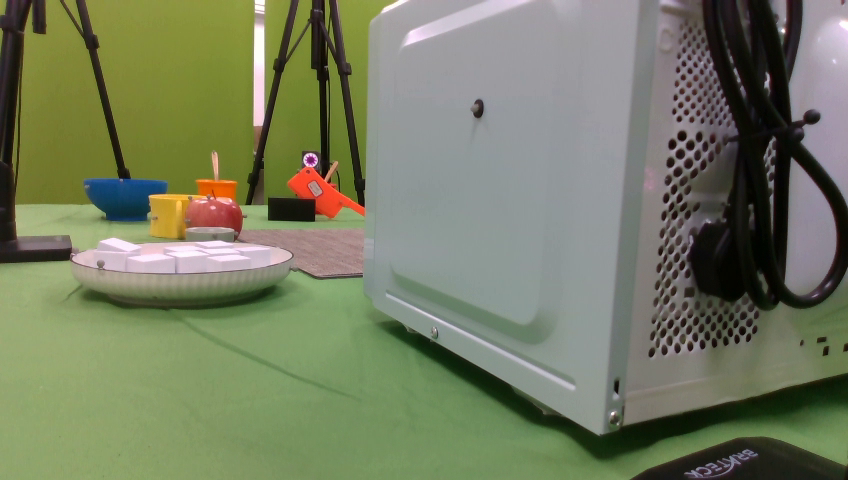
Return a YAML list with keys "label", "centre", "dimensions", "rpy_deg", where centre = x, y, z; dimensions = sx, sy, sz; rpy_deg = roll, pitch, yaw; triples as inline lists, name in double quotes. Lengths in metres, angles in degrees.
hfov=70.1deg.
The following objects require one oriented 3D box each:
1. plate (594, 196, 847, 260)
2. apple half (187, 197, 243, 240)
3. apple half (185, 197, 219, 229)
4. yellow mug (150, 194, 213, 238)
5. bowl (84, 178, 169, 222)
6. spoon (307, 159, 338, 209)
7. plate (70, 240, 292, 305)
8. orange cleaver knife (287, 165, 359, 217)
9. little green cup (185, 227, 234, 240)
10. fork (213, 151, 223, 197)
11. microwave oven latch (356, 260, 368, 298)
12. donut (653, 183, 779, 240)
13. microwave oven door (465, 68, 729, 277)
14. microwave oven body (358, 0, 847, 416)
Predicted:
- label: "plate"
  centre: [0.253, -0.013, 0.520]
  dimensions: [0.209, 0.038, 0.209]
  rpy_deg: [2, 8, 0]
- label: "apple half"
  centre: [-0.305, -0.026, 0.907]
  dimensions: [0.053, 0.074, 0.081]
  rpy_deg: [12, 8, 31]
- label: "apple half"
  centre: [-0.338, -0.031, 0.927]
  dimensions: [0.032, 0.081, 0.081]
  rpy_deg: [12, 12, 31]
- label: "yellow mug"
  centre: [-0.401, -0.040, 1.003]
  dimensions: [0.100, 0.064, 0.130]
  rpy_deg: [-1, 9, -20]
- label: "bowl"
  centre: [-0.584, -0.078, 1.194]
  dimensions: [0.151, 0.077, 0.151]
  rpy_deg: [3, 8, 0]
- label: "spoon"
  centre: [-0.257, -0.147, 1.567]
  dimensions: [0.041, 0.022, 0.193]
  rpy_deg: [1, 50, 20]
- label: "plate"
  centre: [-0.242, 0.031, 0.618]
  dimensions: [0.208, 0.039, 0.207]
  rpy_deg: [2, 8, 0]
- label: "orange cleaver knife"
  centre: [-0.211, -0.092, 1.382]
  dimensions: [0.212, 0.077, 0.012]
  rpy_deg: [34, 1, -15]
- label: "little green cup"
  centre: [-0.285, 0.005, 0.805]
  dimensions: [0.061, 0.038, 0.061]
  rpy_deg: [2, 8, 0]
- label: "fork"
  centre: [-0.493, -0.143, 1.442]
  dimensions: [0.028, 0.018, 0.206]
  rpy_deg: [-3, 52, -18]
- label: "microwave oven latch"
  centre: [-0.020, 0.033, 0.530]
  dimensions: [0.079, 0.029, 0.030]
  rpy_deg: [0, 7, -26]
- label: "donut"
  centre: [0.248, -0.024, 0.519]
  dimensions: [0.099, 0.048, 0.099]
  rpy_deg: [2, 8, 0]
- label: "microwave oven door"
  centre: [0.207, -0.096, 0.814]
  dimensions: [0.354, 0.243, 0.039]
  rpy_deg: [9, 11, 42]
- label: "microwave oven body"
  centre: [0.210, -0.047, 0.474]
  dimensions: [0.444, 0.260, 0.324]
  rpy_deg: [-1, 7, -28]
